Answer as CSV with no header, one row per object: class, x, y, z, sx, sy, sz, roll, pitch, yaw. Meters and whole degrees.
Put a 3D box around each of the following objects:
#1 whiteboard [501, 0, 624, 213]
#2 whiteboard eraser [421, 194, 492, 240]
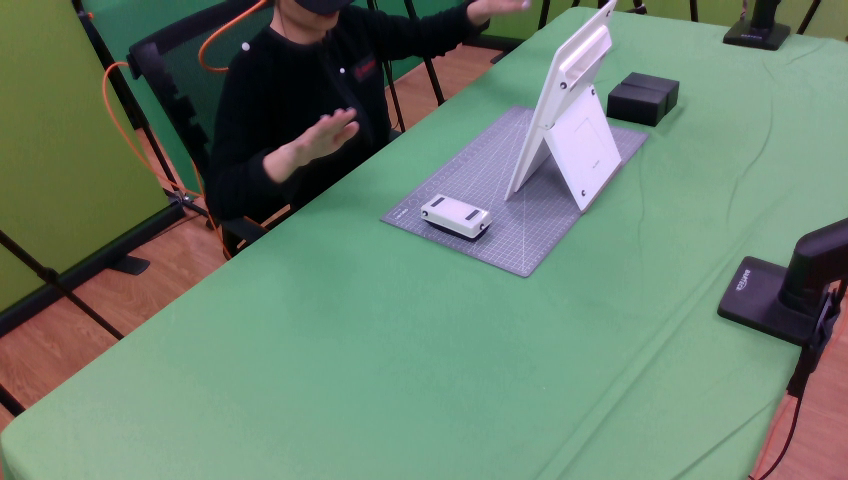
whiteboard,0.271,-0.189,0.977,0.143,0.306,0.218,34,53,16
whiteboard eraser,0.052,-0.037,0.996,0.112,0.042,0.056,23,50,32
